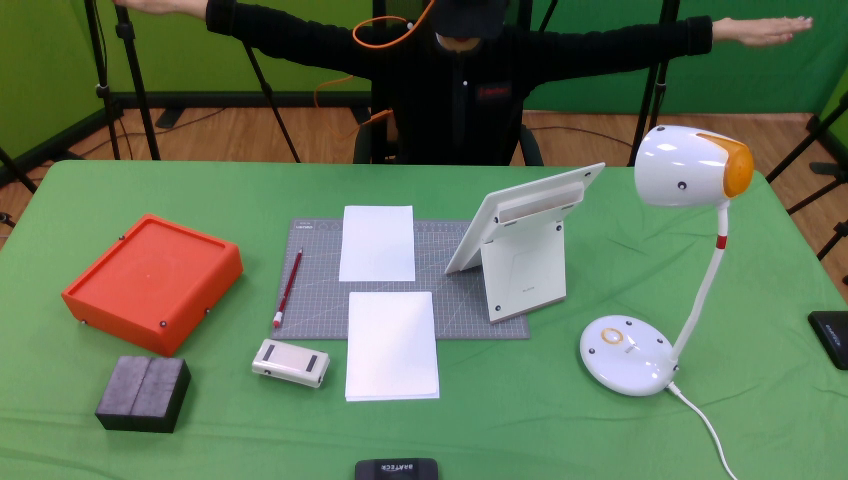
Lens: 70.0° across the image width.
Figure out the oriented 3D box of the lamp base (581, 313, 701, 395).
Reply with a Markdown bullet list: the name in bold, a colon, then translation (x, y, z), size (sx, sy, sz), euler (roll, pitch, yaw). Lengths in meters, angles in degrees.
- **lamp base**: translation (0.361, 0.144, 0.973), size (0.178, 0.181, 0.160), euler (34, 53, 23)

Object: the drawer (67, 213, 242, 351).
- **drawer**: translation (-0.461, 0.068, 1.057), size (0.194, 0.073, 0.211), euler (19, 48, 13)

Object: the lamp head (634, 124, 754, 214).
- **lamp head**: translation (0.351, -0.089, 0.775), size (0.112, 0.113, 0.122), euler (-30, 30, -28)

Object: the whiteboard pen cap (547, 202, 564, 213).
- **whiteboard pen cap**: translation (0.277, -0.066, 1.275), size (0.033, 0.018, 0.018), euler (-18, 50, -15)

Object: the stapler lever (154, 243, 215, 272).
- **stapler lever**: translation (-0.430, 0.025, 1.088), size (0.118, 0.040, 0.027), euler (16, 34, 13)

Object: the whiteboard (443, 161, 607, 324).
- **whiteboard**: translation (0.185, 0.026, 1.028), size (0.217, 0.306, 0.143), euler (-15, 68, -18)

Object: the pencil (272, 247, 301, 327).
- **pencil**: translation (-0.248, 0.081, 1.104), size (0.012, 0.012, 0.193), euler (6, 44, 1)

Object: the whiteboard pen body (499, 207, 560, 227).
- **whiteboard pen body**: translation (0.222, -0.051, 1.259), size (0.141, 0.017, 0.017), euler (-15, 49, -16)

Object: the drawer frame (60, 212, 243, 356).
- **drawer frame**: translation (-0.462, 0.070, 1.053), size (0.201, 0.083, 0.213), euler (18, 48, 12)

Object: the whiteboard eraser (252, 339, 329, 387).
- **whiteboard eraser**: translation (-0.215, 0.199, 0.976), size (0.112, 0.042, 0.055), euler (12, 45, 7)

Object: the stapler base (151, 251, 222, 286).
- **stapler base**: translation (-0.432, 0.046, 1.103), size (0.130, 0.024, 0.041), euler (17, 34, 13)
